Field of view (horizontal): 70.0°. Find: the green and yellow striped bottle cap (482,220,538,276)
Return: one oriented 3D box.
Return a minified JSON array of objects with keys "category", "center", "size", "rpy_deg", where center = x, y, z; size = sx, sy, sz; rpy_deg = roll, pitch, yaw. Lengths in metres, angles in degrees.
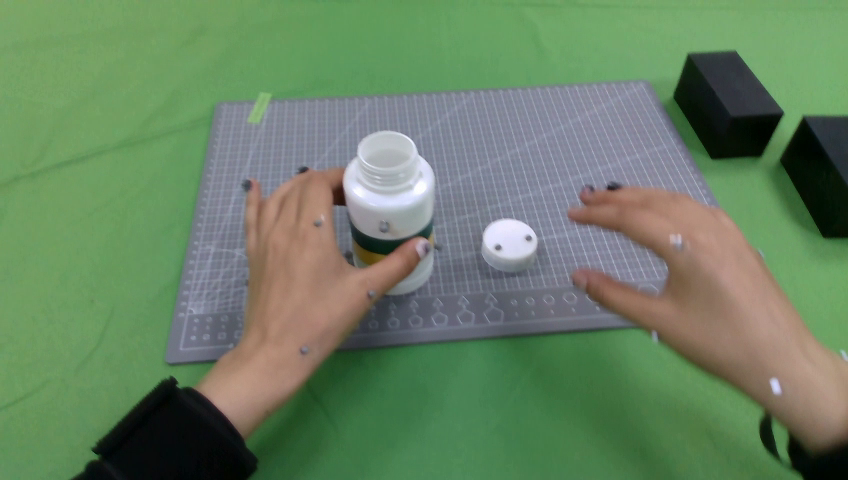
[{"category":"green and yellow striped bottle cap","center":[0.069,0.005,0.488],"size":[0.045,0.020,0.045],"rpy_deg":[1,51,-1]}]

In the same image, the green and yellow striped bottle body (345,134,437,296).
[{"category":"green and yellow striped bottle body","center":[-0.023,-0.018,0.436],"size":[0.063,0.121,0.062],"rpy_deg":[1,50,0]}]
